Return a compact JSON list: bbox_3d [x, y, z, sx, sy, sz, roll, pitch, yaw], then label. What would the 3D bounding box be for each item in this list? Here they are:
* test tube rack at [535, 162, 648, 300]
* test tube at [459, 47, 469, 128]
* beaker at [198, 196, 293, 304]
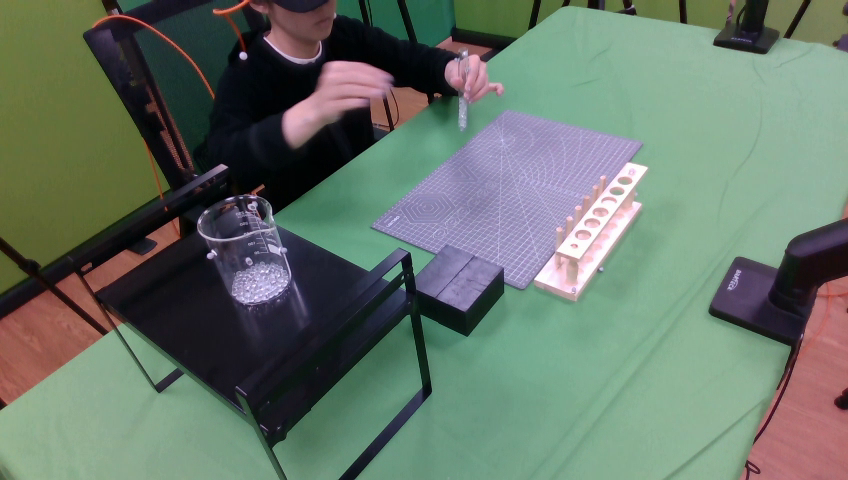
[{"bbox_3d":[0.257,-0.024,0.916,0.066,0.085,0.243,22,49,30],"label":"test tube rack"},{"bbox_3d":[0.069,-0.259,1.040,0.017,0.151,0.017,-1,44,2],"label":"test tube"},{"bbox_3d":[-0.185,0.014,0.651,0.083,0.101,0.074,9,44,18],"label":"beaker"}]
